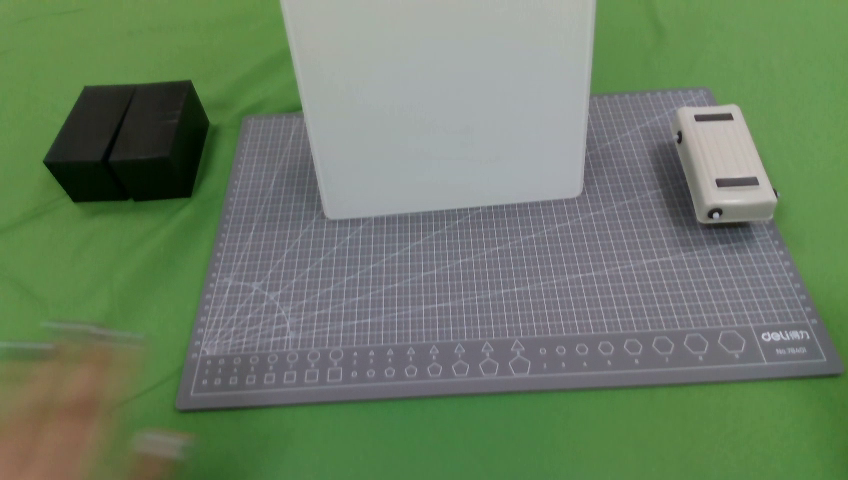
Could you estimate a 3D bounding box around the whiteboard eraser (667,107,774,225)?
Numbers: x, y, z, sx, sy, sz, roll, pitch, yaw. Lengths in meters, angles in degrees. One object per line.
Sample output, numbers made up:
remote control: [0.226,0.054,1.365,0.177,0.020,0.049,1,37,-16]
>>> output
whiteboard eraser: [0.237,-0.059,0.492,0.055,0.042,0.111,0,52,4]

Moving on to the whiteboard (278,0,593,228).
whiteboard: [0.010,-0.184,0.477,0.217,0.308,0.142,-5,33,1]
